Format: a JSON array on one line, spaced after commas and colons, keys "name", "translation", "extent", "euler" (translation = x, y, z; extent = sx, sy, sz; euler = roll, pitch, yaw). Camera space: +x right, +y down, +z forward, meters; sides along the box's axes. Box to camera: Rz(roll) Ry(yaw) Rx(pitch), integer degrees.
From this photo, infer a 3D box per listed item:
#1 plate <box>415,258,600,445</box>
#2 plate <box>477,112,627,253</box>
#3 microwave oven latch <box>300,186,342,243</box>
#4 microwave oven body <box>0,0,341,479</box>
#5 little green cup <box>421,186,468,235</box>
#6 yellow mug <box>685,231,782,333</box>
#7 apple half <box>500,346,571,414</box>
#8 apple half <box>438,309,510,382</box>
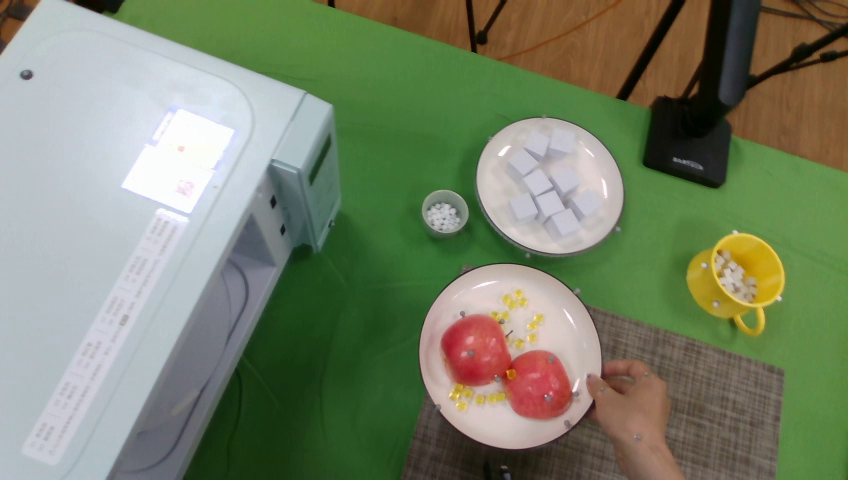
[{"name": "plate", "translation": [0.092, 0.124, 0.685], "extent": [0.209, 0.038, 0.208], "euler": [2, 72, -5]}, {"name": "plate", "translation": [0.173, -0.077, 0.838], "extent": [0.208, 0.039, 0.206], "euler": [2, 71, -6]}, {"name": "microwave oven latch", "translation": [-0.131, -0.038, 0.769], "extent": [0.030, 0.029, 0.079], "euler": [24, 71, 1]}, {"name": "microwave oven body", "translation": [-0.321, 0.031, 0.621], "extent": [0.326, 0.261, 0.439], "euler": [22, 71, 1]}, {"name": "little green cup", "translation": [0.025, -0.036, 0.806], "extent": [0.062, 0.039, 0.061], "euler": [2, 73, -7]}, {"name": "yellow mug", "translation": [0.415, 0.059, 0.805], "extent": [0.100, 0.064, 0.130], "euler": [-9, 73, -9]}, {"name": "apple half", "translation": [0.125, 0.155, 0.672], "extent": [0.081, 0.033, 0.080], "euler": [1, 69, -2]}, {"name": "apple half", "translation": [0.055, 0.115, 0.668], "extent": [0.075, 0.053, 0.080], "euler": [-14, 74, -6]}]
